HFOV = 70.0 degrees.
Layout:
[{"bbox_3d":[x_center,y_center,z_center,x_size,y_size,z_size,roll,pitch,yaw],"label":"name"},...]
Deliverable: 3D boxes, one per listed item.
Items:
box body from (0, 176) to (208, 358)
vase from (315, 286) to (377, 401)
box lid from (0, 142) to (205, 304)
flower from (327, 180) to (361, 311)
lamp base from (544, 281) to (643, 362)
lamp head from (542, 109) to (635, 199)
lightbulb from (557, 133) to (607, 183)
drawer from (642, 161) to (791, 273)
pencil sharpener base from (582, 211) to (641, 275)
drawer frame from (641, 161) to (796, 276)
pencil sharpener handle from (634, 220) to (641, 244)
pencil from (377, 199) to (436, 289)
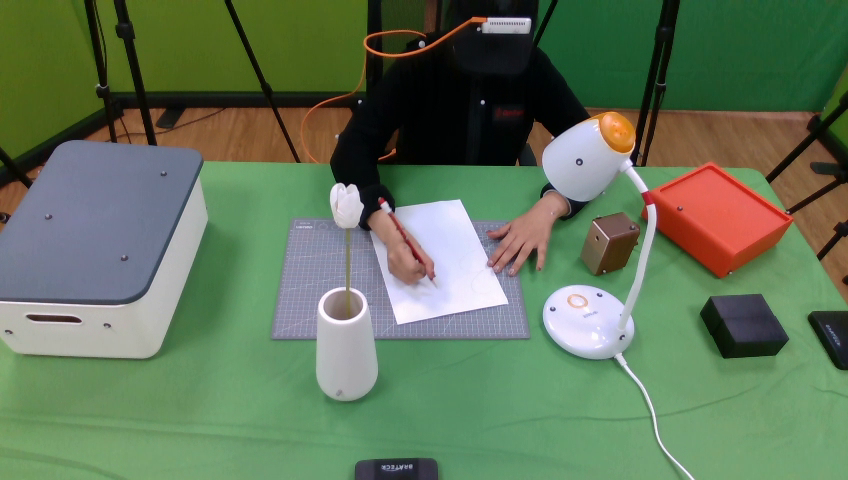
[{"bbox_3d":[-0.546,0.017,1.045,0.254,0.161,0.361,2,46,-2],"label":"box body"},{"bbox_3d":[-0.119,0.159,0.911,0.098,0.201,0.097,2,47,-2],"label":"vase"},{"bbox_3d":[-0.534,-0.044,0.995,0.263,0.015,0.369,3,45,-3],"label":"box lid"},{"bbox_3d":[-0.110,0.086,0.867,0.044,0.363,0.038,22,33,36],"label":"flower"},{"bbox_3d":[0.303,0.095,1.014,0.161,0.181,0.178,-24,54,-24],"label":"lamp base"},{"bbox_3d":[0.253,-0.131,0.893,0.113,0.123,0.112,10,66,-24],"label":"lamp head"},{"bbox_3d":[0.243,-0.127,0.917,0.059,0.108,0.059,6,67,-13],"label":"lightbulb"},{"bbox_3d":[0.596,-0.051,1.246,0.194,0.073,0.210,-23,52,-25],"label":"drawer"},{"bbox_3d":[0.357,0.005,1.156,0.077,0.107,0.061,-15,48,-18],"label":"pencil sharpener base"},{"bbox_3d":[0.599,-0.051,1.244,0.202,0.083,0.212,-24,52,-25],"label":"drawer frame"},{"bbox_3d":[0.405,-0.015,1.162,0.031,0.068,0.035,-15,46,-18],"label":"pencil sharpener handle"},{"bbox_3d":[-0.030,0.009,1.093,0.012,0.012,0.194,-38,99,-33],"label":"pencil"}]
